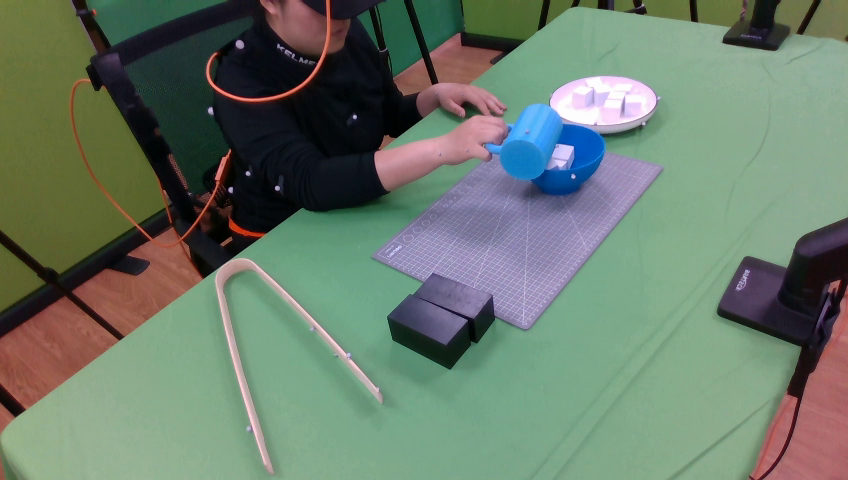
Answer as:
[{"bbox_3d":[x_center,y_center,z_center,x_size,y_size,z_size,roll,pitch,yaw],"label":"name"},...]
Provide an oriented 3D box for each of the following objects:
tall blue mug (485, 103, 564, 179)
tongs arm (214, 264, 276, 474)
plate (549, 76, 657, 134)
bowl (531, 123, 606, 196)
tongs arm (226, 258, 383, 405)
[{"bbox_3d":[0.159,-0.165,0.967,0.107,0.078,0.108,29,49,2],"label":"tall blue mug"},{"bbox_3d":[-0.252,0.159,0.838,0.028,0.028,0.384,-27,43,-8],"label":"tongs arm"},{"bbox_3d":[0.357,-0.268,1.220,0.209,0.038,0.208,-5,40,5],"label":"plate"},{"bbox_3d":[0.235,-0.131,1.045,0.151,0.077,0.150,-5,40,5],"label":"bowl"},{"bbox_3d":[-0.185,0.121,0.863,0.051,0.027,0.381,-34,45,-20],"label":"tongs arm"}]
